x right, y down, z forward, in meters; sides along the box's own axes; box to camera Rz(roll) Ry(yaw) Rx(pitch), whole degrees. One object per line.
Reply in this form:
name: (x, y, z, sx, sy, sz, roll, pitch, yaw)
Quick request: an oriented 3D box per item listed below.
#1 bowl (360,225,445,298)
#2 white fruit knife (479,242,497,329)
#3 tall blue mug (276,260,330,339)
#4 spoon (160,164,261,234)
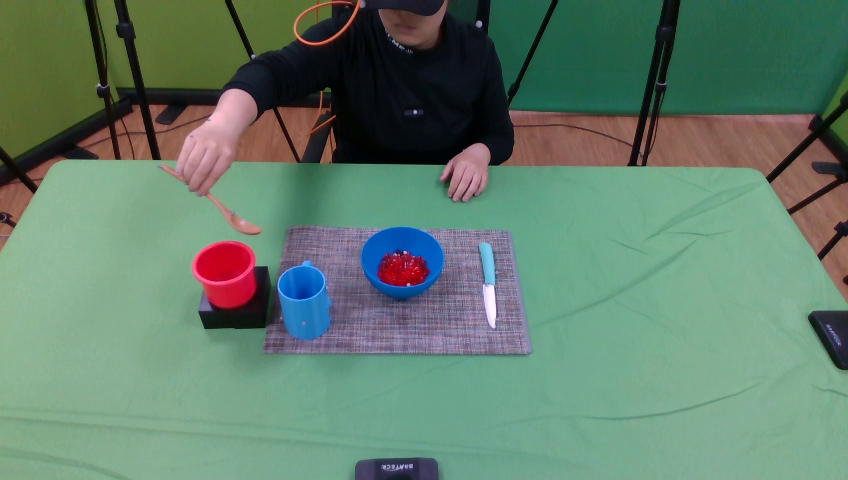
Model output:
bowl: (-0.040, 0.053, 1.099, 0.151, 0.077, 0.150, 2, 46, -2)
white fruit knife: (0.122, 0.080, 1.130, 0.027, 0.016, 0.206, -19, 45, 19)
tall blue mug: (-0.208, 0.094, 1.025, 0.078, 0.108, 0.106, -21, 51, -21)
spoon: (-0.345, -0.067, 0.979, 0.194, 0.021, 0.041, 39, 19, 0)
